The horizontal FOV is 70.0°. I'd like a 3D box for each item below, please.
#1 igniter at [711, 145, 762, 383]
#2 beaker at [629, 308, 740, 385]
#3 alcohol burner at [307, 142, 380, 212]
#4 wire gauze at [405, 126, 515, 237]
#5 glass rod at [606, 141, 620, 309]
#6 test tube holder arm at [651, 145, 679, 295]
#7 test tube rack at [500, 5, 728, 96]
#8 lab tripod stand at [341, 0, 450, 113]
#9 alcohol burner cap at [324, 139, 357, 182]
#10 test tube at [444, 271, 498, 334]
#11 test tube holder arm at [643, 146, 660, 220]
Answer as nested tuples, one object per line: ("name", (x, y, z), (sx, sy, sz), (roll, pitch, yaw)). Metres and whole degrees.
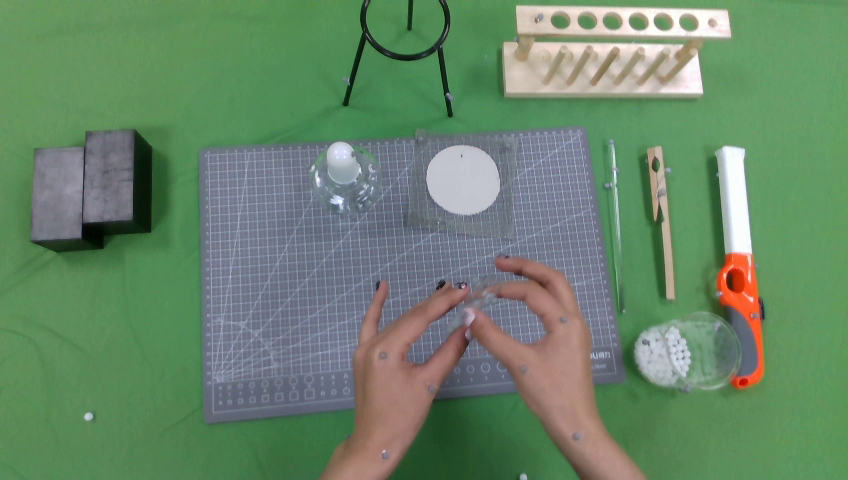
("igniter", (0.356, 0.023, 0.695), (0.057, 0.025, 0.275), (5, 77, -14))
("beaker", (0.262, 0.112, 0.632), (0.084, 0.100, 0.074), (27, 76, 3))
("alcohol burner", (-0.086, -0.072, 0.634), (0.078, 0.119, 0.077), (0, 77, -2))
("wire gauze", (0.043, -0.070, 0.698), (0.125, 0.011, 0.121), (7, 78, -4))
("glass rod", (0.219, -0.019, 0.703), (0.008, 0.008, 0.199), (1, 80, -4))
("test tube holder arm", (0.278, -0.024, 0.702), (0.013, 0.015, 0.177), (-13, 75, 32))
("test tube rack", (0.217, -0.218, 0.707), (0.243, 0.085, 0.066), (-1, 77, -4))
("lab tripod stand", (-0.027, -0.205, 0.661), (0.148, 0.132, 0.148), (1, 79, -4))
("alcohol burner cap", (-0.084, -0.081, 0.599), (0.034, 0.048, 0.033), (1, 71, -4))
("test tube", (0.037, 0.056, 0.509), (0.017, 0.151, 0.017), (3, 68, -8))
("test tube holder arm", (0.270, -0.067, 0.714), (0.010, 0.015, 0.087), (-11, 76, 32))
